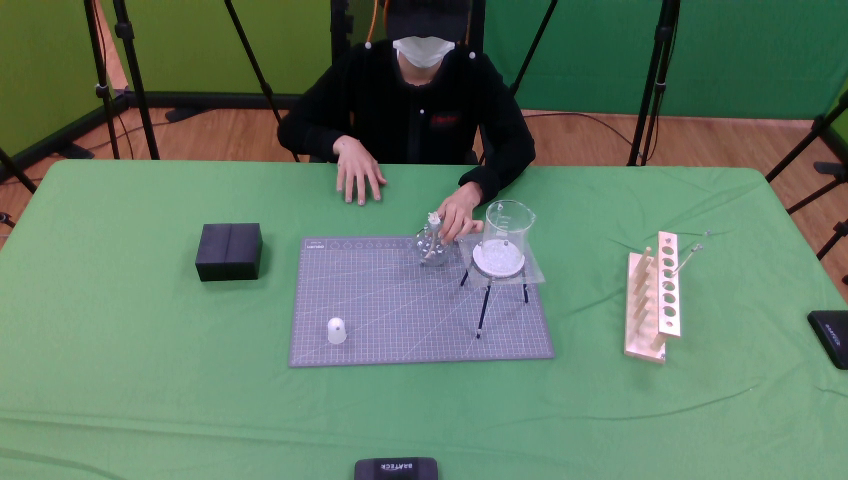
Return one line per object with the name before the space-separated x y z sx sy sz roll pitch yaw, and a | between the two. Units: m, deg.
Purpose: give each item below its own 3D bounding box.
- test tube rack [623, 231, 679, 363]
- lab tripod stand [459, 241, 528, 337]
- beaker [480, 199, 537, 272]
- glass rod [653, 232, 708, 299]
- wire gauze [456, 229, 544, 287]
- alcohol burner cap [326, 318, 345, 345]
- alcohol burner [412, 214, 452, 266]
test tube rack | 0.410 0.094 1.096 0.066 0.085 0.241 13 46 9
lab tripod stand | 0.122 0.075 1.054 0.148 0.132 0.147 3 44 -2
beaker | 0.132 -0.004 0.973 0.084 0.101 0.073 -4 47 -9
glass rod | 0.441 0.049 1.050 0.008 0.200 0.008 4 52 -5
wire gauze | 0.125 0.030 1.008 0.125 0.011 0.120 -3 48 -11
alcohol burner cap | -0.149 0.151 1.023 0.034 0.048 0.033 2 46 -2
alcohol burner | 0.016 -0.006 1.139 0.078 0.119 0.077 2 48 -2
